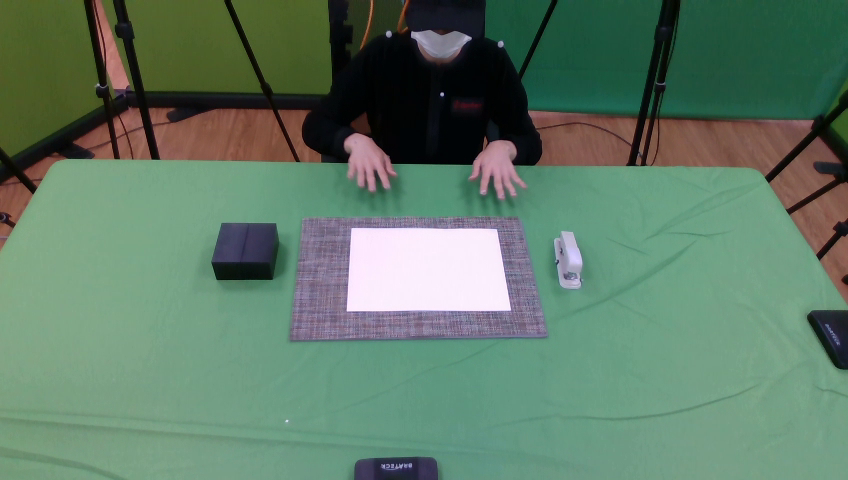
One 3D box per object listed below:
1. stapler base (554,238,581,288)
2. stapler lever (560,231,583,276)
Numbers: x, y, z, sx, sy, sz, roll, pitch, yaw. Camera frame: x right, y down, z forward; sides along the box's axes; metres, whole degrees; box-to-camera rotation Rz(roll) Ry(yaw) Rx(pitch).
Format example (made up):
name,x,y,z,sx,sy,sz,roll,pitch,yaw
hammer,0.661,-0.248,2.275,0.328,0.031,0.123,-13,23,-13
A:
name,x,y,z,sx,sy,sz,roll,pitch,yaw
stapler base,0.282,0.038,1.181,0.041,0.024,0.130,5,44,-2
stapler lever,0.283,0.018,1.165,0.027,0.040,0.117,5,44,-2
